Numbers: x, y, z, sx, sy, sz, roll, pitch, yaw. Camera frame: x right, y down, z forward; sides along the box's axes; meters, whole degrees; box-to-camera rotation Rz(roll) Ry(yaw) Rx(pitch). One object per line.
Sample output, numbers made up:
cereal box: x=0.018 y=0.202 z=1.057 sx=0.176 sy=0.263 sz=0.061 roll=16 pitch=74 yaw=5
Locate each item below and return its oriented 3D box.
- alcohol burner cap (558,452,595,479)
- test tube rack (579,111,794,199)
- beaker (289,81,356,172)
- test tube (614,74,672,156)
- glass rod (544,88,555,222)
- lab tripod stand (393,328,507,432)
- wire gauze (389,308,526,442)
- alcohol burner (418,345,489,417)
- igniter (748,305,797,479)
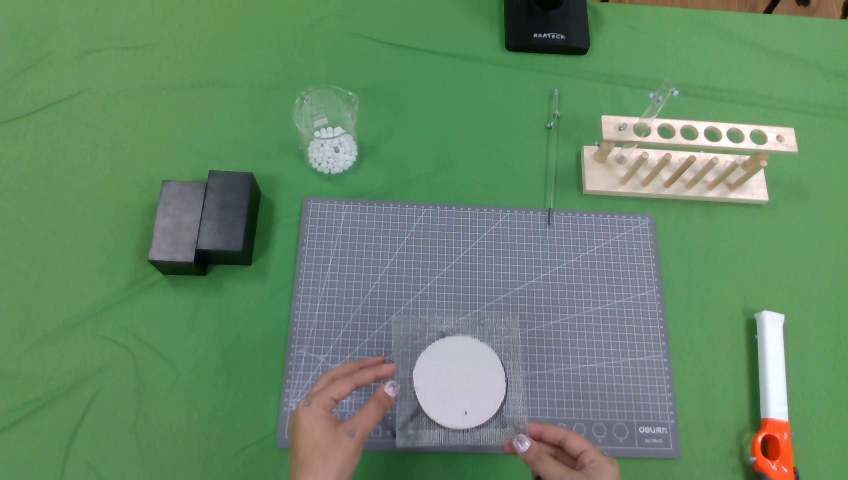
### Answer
alcohol burner cap: x=0.168 y=0.245 z=0.655 sx=0.034 sy=0.048 sz=0.033 roll=1 pitch=69 yaw=-3
test tube rack: x=0.330 y=-0.106 z=0.772 sx=0.242 sy=0.085 sz=0.066 roll=3 pitch=69 yaw=-3
beaker: x=-0.118 y=-0.136 z=0.744 sx=0.084 sy=0.101 sz=0.073 roll=-35 pitch=76 yaw=-16
test tube: x=0.260 y=-0.146 z=0.729 sx=0.017 sy=0.151 sz=0.017 roll=1 pitch=66 yaw=-2
glass rod: x=0.167 y=-0.116 z=0.804 sx=0.008 sy=0.008 sz=0.198 roll=8 pitch=71 yaw=-1
lab tripod stand: x=0.028 y=0.150 z=0.628 sx=0.148 sy=0.132 sz=0.147 roll=1 pitch=69 yaw=-2
wire gauze: x=0.030 y=0.123 z=0.564 sx=0.125 sy=0.011 sz=0.120 roll=0 pitch=69 yaw=-4
alcohol burner: x=0.033 y=0.146 z=0.640 sx=0.078 sy=0.120 sz=0.077 roll=2 pitch=68 yaw=-5
igniter: x=0.396 y=0.210 z=0.692 sx=0.057 sy=0.025 sz=0.275 roll=13 pitch=69 yaw=-10
